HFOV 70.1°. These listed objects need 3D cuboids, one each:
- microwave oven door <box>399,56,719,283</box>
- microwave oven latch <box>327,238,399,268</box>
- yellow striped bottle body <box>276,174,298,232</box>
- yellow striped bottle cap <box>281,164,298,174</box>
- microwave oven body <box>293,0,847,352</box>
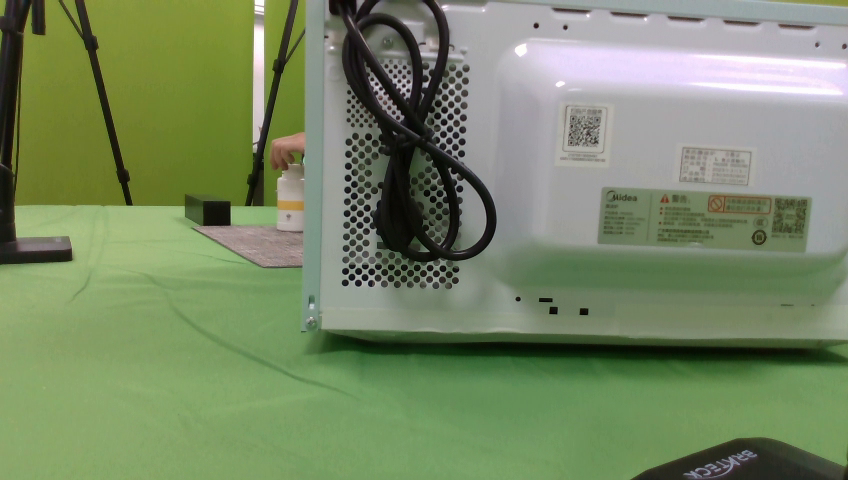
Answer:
[{"bbox_3d":[0.154,-0.078,0.698,0.356,0.243,0.039,2,8,-5],"label":"microwave oven door"},{"bbox_3d":[-0.069,0.015,0.694,0.079,0.029,0.030,3,7,-3],"label":"microwave oven latch"},{"bbox_3d":[-0.244,-0.077,1.128,0.063,0.120,0.063,2,8,0],"label":"yellow striped bottle body"},{"bbox_3d":[-0.242,-0.131,1.122,0.044,0.018,0.044,3,8,0],"label":"yellow striped bottle cap"},{"bbox_3d":[0.122,-0.055,0.550,0.442,0.260,0.325,3,7,-5],"label":"microwave oven body"}]
